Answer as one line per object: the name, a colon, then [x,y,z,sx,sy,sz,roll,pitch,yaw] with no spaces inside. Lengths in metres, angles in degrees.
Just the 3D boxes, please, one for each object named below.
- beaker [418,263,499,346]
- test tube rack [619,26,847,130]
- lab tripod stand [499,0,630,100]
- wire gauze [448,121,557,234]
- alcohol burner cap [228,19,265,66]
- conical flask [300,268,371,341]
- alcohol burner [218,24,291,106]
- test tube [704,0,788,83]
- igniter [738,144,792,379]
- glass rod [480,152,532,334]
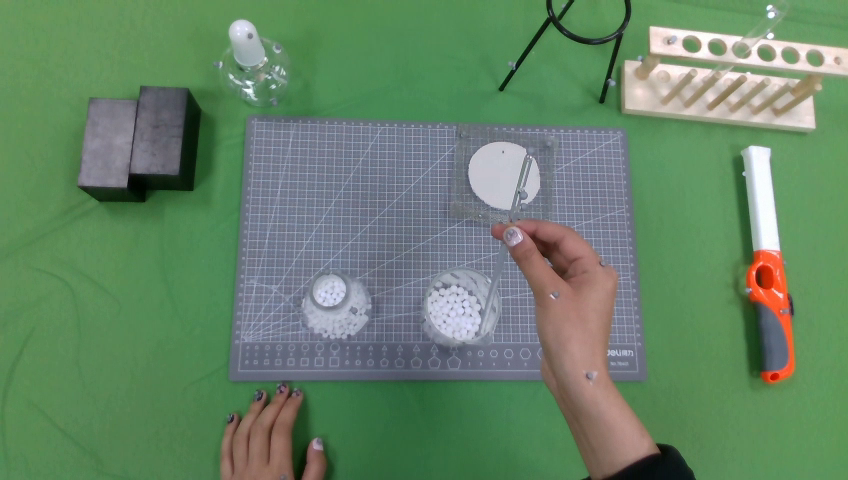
beaker: [0.033,0.073,0.619,0.074,0.100,0.083,-35,82,-11]
test tube rack: [0.365,-0.189,0.719,0.243,0.085,0.066,5,76,-4]
lab tripod stand: [0.162,-0.227,0.686,0.148,0.132,0.147,1,79,-4]
wire gauze: [0.093,-0.075,0.706,0.125,0.011,0.121,9,76,-6]
alcohol burner cap: [-0.184,-0.207,0.624,0.034,0.048,0.033,2,70,-5]
conical flask: [-0.091,0.058,0.600,0.075,0.122,0.075,1,76,-4]
alcohol burner: [-0.187,-0.196,0.658,0.078,0.119,0.077,1,77,-3]
test tube: [0.353,-0.216,0.674,0.017,0.151,0.017,1,76,-2]
igniter: [0.394,0.021,0.703,0.057,0.025,0.275,5,76,-14]
glass rod: [0.064,0.013,0.491,0.008,0.201,0.008,4,43,-3]
